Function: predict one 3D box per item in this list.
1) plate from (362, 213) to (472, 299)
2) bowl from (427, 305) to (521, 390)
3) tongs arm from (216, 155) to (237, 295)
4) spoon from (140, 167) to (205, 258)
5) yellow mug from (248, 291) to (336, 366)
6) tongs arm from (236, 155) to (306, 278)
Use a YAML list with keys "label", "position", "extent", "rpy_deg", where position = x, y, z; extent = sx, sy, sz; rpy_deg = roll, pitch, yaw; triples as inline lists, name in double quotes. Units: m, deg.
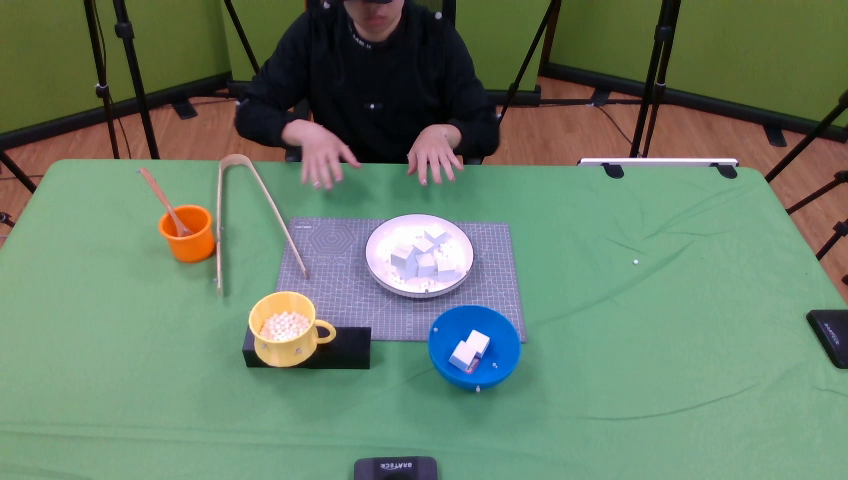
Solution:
- label: "plate"
  position: [-0.014, 0.034, 1.149]
  extent: [0.208, 0.039, 0.206]
  rpy_deg: [3, 46, -2]
- label: "bowl"
  position: [0.076, 0.188, 0.985]
  extent: [0.151, 0.077, 0.150]
  rpy_deg: [3, 46, -3]
- label: "tongs arm"
  position: [-0.388, -0.044, 1.201]
  extent: [0.051, 0.026, 0.382]
  rpy_deg: [-10, 46, -12]
- label: "spoon"
  position: [-0.467, -0.051, 1.122]
  extent: [0.041, 0.194, 0.021]
  rpy_deg: [-34, 13, -28]
- label: "yellow mug"
  position: [-0.203, 0.139, 0.948]
  extent: [0.131, 0.064, 0.099]
  rpy_deg: [5, 46, 0]
- label: "tongs arm"
  position: [-0.311, -0.059, 1.223]
  extent: [0.028, 0.028, 0.385]
  rpy_deg: [-22, 50, -18]
